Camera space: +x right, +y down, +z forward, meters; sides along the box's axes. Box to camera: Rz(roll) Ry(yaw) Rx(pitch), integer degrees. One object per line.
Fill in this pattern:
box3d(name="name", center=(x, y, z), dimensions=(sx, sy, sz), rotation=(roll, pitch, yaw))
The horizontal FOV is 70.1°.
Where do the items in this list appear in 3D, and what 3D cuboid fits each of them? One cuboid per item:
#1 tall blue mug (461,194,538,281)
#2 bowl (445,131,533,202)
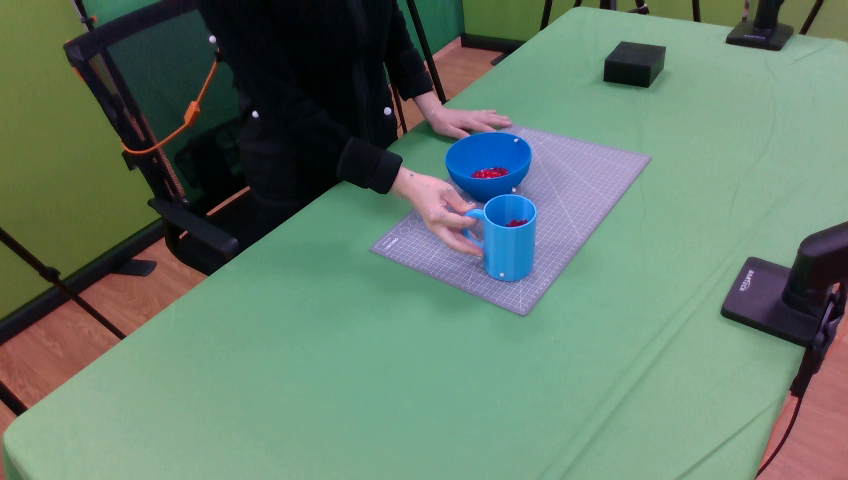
box3d(name="tall blue mug", center=(0.111, -0.002, 0.889), dimensions=(0.107, 0.108, 0.077), rotation=(-5, 44, 0))
box3d(name="bowl", center=(0.116, -0.118, 1.056), dimensions=(0.151, 0.077, 0.150), rotation=(-6, 40, 5))
